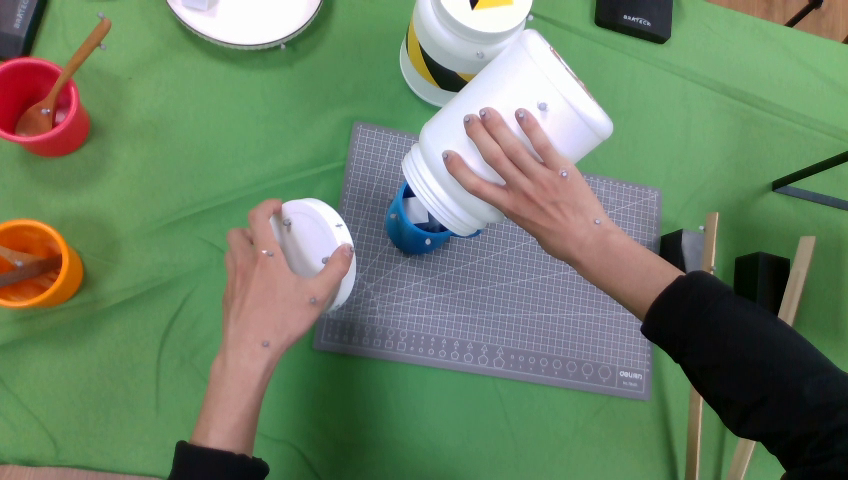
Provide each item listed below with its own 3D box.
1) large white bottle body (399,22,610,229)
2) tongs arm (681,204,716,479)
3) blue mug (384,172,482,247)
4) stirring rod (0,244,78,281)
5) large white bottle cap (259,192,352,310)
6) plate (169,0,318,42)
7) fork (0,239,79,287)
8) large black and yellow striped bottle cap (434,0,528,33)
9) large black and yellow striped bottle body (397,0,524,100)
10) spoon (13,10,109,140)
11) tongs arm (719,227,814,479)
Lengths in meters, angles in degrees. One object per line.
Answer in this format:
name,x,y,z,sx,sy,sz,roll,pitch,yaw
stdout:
large white bottle body,0.075,-0.108,0.610,0.185,0.130,0.130,-39,89,22
tongs arm,0.369,0.147,0.788,0.051,0.026,0.384,6,90,-14
blue mug,0.014,-0.037,0.739,0.117,0.106,0.082,18,76,-9
stirring rod,-0.431,0.036,0.610,0.014,0.006,0.176,57,31,-1
large white bottle cap,-0.117,0.011,0.588,0.018,0.114,0.114,-11,80,-54
plate,-0.233,-0.348,0.779,0.208,0.039,0.206,2,79,-12
fork,-0.447,-0.006,0.608,0.209,0.018,0.028,44,65,-47
large black and yellow striped bottle cap,0.062,-0.286,0.672,0.115,0.019,0.114,3,80,-13
large black and yellow striped bottle body,0.045,-0.268,0.751,0.131,0.184,0.130,3,78,-12
spoon,-0.393,-0.176,0.655,0.194,0.021,0.041,-37,84,27
tongs arm,0.448,0.163,0.805,0.028,0.027,0.387,20,87,-17
